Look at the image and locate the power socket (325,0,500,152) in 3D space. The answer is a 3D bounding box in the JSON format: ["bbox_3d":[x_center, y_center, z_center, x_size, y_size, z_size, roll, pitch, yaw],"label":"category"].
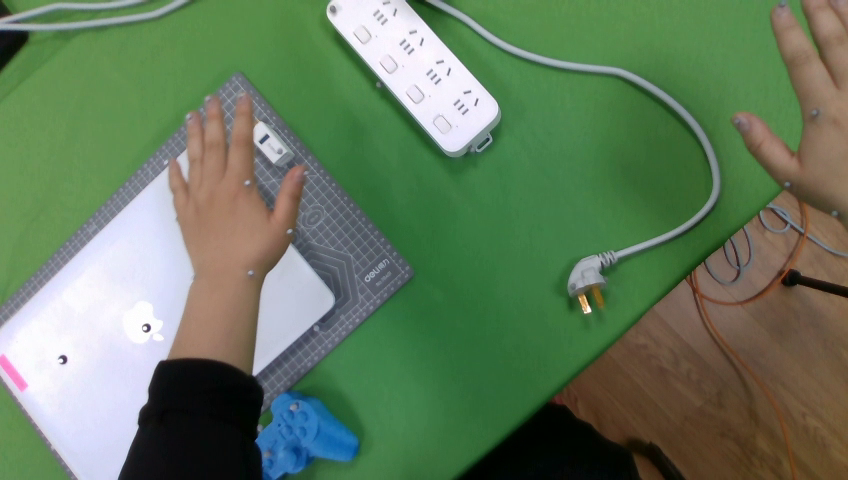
[{"bbox_3d":[-0.013,-0.185,0.618,0.072,0.032,0.226,-41,82,8],"label":"power socket"}]

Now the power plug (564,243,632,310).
[{"bbox_3d":[0.168,0.033,0.577,0.072,0.035,0.052,-25,66,20],"label":"power plug"}]

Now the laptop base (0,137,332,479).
[{"bbox_3d":[-0.297,0.086,0.664,0.354,0.023,0.235,-42,86,6],"label":"laptop base"}]

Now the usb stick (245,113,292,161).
[{"bbox_3d":[-0.169,-0.112,0.642,0.021,0.027,0.059,-43,80,9],"label":"usb stick"}]

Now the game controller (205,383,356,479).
[{"bbox_3d":[-0.156,0.220,0.624,0.155,0.052,0.096,-42,78,6],"label":"game controller"}]

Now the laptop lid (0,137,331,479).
[{"bbox_3d":[-0.297,0.088,0.652,0.357,0.013,0.241,-40,85,6],"label":"laptop lid"}]
